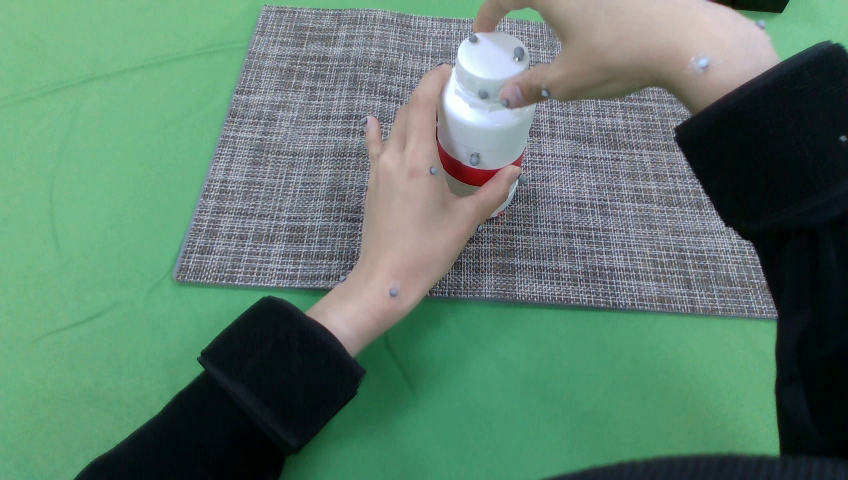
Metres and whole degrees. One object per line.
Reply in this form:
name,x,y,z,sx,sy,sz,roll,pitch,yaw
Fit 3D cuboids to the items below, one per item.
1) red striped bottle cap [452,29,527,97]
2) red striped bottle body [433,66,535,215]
red striped bottle cap,0.039,-0.107,0.364,0.044,0.018,0.044,2,55,-3
red striped bottle body,0.039,-0.075,0.411,0.063,0.120,0.062,1,57,-1
